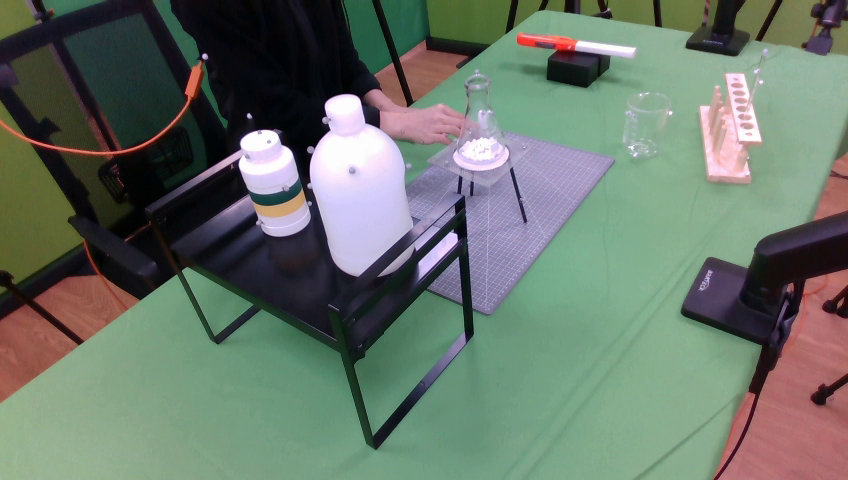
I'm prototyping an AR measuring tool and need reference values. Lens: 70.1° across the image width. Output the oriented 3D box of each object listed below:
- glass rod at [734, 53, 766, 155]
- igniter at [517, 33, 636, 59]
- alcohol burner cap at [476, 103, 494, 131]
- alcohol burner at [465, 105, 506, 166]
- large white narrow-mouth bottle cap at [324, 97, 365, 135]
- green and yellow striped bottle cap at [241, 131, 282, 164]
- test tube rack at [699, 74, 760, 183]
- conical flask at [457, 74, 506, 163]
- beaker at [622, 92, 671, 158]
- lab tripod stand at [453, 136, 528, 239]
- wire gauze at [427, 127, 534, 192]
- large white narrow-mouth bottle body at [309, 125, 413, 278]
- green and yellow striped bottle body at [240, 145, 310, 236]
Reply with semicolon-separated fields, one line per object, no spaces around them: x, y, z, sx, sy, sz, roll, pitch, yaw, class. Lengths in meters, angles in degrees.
0.540;-0.220;1.006;0.008;0.201;0.008;-5;45;6;glass rod
0.336;-0.441;1.369;0.275;0.025;0.057;16;41;23;igniter
0.111;-0.226;1.095;0.034;0.048;0.033;-1;47;2;alcohol burner cap
0.113;-0.199;1.119;0.078;0.119;0.077;-4;43;4;alcohol burner
-0.076;-0.120;0.585;0.038;0.024;0.037;-3;42;3;large white narrow-mouth bottle cap
-0.187;-0.107;0.695;0.045;0.020;0.045;-3;39;3;green and yellow striped bottle cap
0.547;-0.208;1.095;0.066;0.085;0.242;6;42;16;test tube rack
0.082;-0.181;0.893;0.075;0.122;0.075;-4;41;4;conical flask
0.402;-0.210;1.106;0.074;0.101;0.083;-9;40;-2;beaker
0.095;-0.086;0.974;0.148;0.132;0.147;-4;43;4;lab tripod stand
0.086;-0.130;0.925;0.124;0.011;0.122;28;54;31;wire gauze
-0.068;-0.057;0.644;0.102;0.195;0.101;-3;42;4;large white narrow-mouth bottle body
-0.181;-0.068;0.729;0.063;0.120;0.063;-4;40;4;green and yellow striped bottle body
